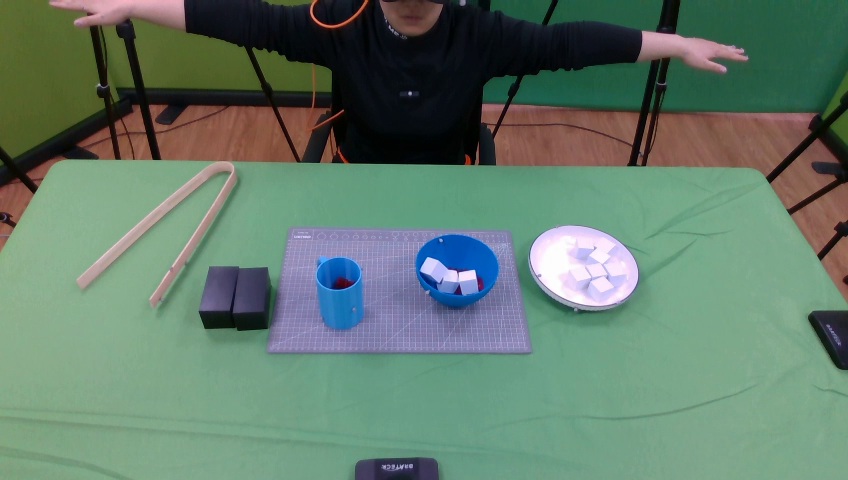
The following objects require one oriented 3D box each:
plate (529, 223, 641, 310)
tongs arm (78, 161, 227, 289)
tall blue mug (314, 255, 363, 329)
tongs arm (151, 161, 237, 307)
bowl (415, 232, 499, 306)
[{"bbox_3d":[0.303,0.053,1.156,0.209,0.038,0.208,2,46,-1],"label":"plate"},{"bbox_3d":[-0.524,-0.043,1.196,0.028,0.028,0.386,15,47,22],"label":"tongs arm"},{"bbox_3d":[-0.157,0.085,1.040,0.107,0.108,0.077,23,50,18],"label":"tall blue mug"},{"bbox_3d":[-0.447,-0.026,1.180,0.051,0.027,0.383,8,46,10],"label":"tongs arm"},{"bbox_3d":[0.057,0.067,1.093,0.151,0.077,0.150,2,46,-2],"label":"bowl"}]
